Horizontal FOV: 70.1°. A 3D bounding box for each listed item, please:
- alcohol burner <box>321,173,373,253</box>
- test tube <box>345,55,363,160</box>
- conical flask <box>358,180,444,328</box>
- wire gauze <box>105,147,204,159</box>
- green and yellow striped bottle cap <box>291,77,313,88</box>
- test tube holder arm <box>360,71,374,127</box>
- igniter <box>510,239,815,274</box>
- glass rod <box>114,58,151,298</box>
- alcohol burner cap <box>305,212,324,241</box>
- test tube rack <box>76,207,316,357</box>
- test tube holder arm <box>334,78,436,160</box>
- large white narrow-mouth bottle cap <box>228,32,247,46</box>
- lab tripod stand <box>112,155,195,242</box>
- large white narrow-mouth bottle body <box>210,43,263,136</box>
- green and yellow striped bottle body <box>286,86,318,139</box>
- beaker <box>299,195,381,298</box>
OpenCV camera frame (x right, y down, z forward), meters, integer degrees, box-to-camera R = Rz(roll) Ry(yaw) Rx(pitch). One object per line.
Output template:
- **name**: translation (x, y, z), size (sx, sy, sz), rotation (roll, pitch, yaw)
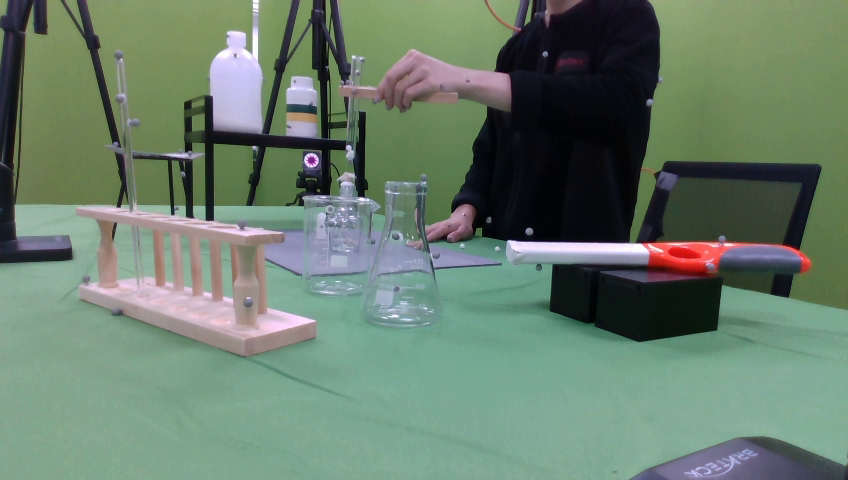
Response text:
- **alcohol burner**: translation (-0.115, -0.041, 0.905), size (0.078, 0.119, 0.078), rotation (1, 6, 0)
- **test tube**: translation (-0.101, -0.187, 0.867), size (0.017, 0.150, 0.017), rotation (7, 25, -3)
- **conical flask**: translation (-0.017, 0.010, 0.522), size (0.075, 0.122, 0.075), rotation (3, 7, 0)
- **wire gauze**: translation (-0.407, -0.131, 0.928), size (0.125, 0.011, 0.121), rotation (2, 6, -11)
- **green and yellow striped bottle cap**: translation (-0.250, -0.321, 1.237), size (0.045, 0.020, 0.045), rotation (3, 6, 0)
- **test tube holder arm**: translation (-0.079, -0.198, 0.849), size (0.010, 0.087, 0.015), rotation (9, -26, -36)
- **igniter**: translation (0.220, 0.015, 0.565), size (0.277, 0.025, 0.057), rotation (2, 16, -1)
- **glass rod**: translation (-0.236, -0.044, 0.493), size (0.008, 0.199, 0.008), rotation (1, 16, 0)
- **alcohol burner cap**: translation (-0.185, -0.023, 1.027), size (0.034, 0.048, 0.034), rotation (2, 6, 0)
- **test tube rack**: translation (-0.196, 0.023, 0.500), size (0.241, 0.085, 0.067), rotation (8, 9, 36)
- **test tube holder arm**: translation (-0.052, -0.169, 0.859), size (0.179, 0.013, 0.015), rotation (34, -42, -26)
- **large white narrow-mouth bottle cap**: translation (-0.364, -0.391, 1.180), size (0.038, 0.024, 0.037), rotation (3, 8, 0)
- **lab tripod stand**: translation (-0.405, -0.064, 0.931), size (0.148, 0.131, 0.148), rotation (1, 6, 0)
- **large white narrow-mouth bottle body**: translation (-0.369, -0.305, 1.194), size (0.102, 0.194, 0.102), rotation (3, 8, 0)
- **green and yellow striped bottle body**: translation (-0.251, -0.270, 1.245), size (0.063, 0.119, 0.063), rotation (2, 7, 0)
- **beaker**: translation (-0.087, 0.006, 0.626), size (0.084, 0.100, 0.074), rotation (0, 8, -17)
